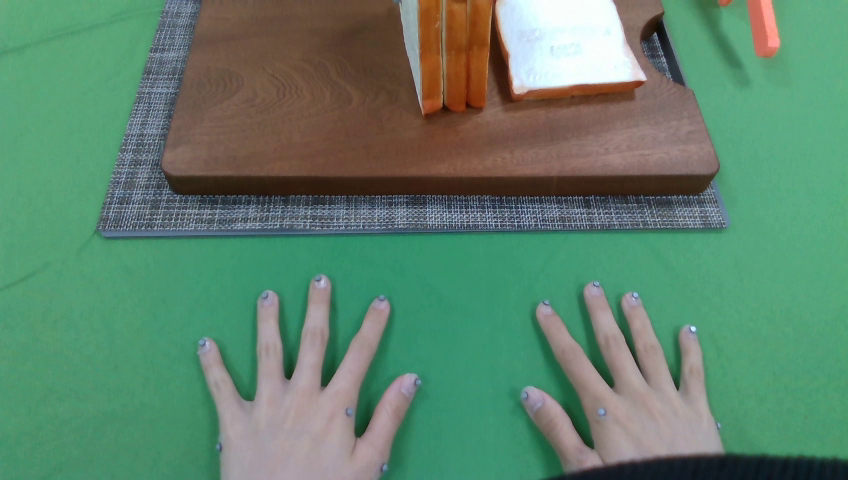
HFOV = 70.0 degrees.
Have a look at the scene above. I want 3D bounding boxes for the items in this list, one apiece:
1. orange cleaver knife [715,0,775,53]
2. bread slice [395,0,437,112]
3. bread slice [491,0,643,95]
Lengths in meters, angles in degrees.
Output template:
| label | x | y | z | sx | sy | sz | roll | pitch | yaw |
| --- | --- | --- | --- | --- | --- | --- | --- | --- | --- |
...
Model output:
| label | x | y | z | sx | sy | sz | roll | pitch | yaw |
| --- | --- | --- | --- | --- | --- | --- | --- | --- | --- |
| orange cleaver knife | 0.287 | -0.258 | 0.556 | 0.012 | 0.077 | 0.210 | 1 | 77 | -5 |
| bread slice | -0.009 | -0.176 | 0.447 | 0.018 | 0.108 | 0.133 | -6 | 50 | -5 |
| bread slice | 0.108 | -0.173 | 0.493 | 0.105 | 0.019 | 0.130 | -7 | 62 | -5 |
